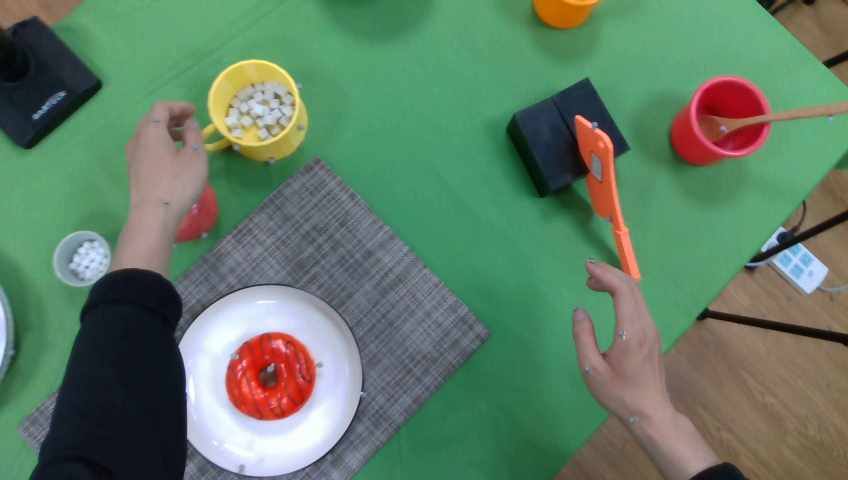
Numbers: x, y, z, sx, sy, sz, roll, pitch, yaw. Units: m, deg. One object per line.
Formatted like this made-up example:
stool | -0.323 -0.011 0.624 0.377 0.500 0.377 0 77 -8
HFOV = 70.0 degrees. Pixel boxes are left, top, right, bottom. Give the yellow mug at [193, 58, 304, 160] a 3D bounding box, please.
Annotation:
yellow mug | -0.207 -0.141 0.699 0.131 0.064 0.100 -33 86 -6

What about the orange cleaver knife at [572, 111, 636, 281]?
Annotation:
orange cleaver knife | 0.209 -0.048 0.703 0.012 0.076 0.213 -25 117 -5

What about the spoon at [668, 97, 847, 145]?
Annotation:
spoon | 0.384 -0.141 0.698 0.192 0.022 0.041 -4 76 40

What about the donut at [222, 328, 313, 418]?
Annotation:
donut | -0.171 0.146 0.665 0.099 0.048 0.099 0 85 -4

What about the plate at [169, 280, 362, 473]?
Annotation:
plate | -0.173 0.149 0.676 0.209 0.038 0.208 0 83 -4

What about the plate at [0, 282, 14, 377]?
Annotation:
plate | -0.551 0.104 0.660 0.208 0.039 0.207 0 83 -4

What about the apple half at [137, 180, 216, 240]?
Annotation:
apple half | -0.279 -0.027 0.677 0.081 0.074 0.053 20 86 -5

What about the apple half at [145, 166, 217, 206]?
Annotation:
apple half | -0.267 -0.064 0.681 0.081 0.081 0.033 19 87 -1

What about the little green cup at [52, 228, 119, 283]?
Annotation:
little green cup | -0.377 0.020 0.681 0.061 0.039 0.061 0 83 -3

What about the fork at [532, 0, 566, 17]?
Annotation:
fork | 0.209 -0.341 0.707 0.207 0.018 0.028 -39 81 36
